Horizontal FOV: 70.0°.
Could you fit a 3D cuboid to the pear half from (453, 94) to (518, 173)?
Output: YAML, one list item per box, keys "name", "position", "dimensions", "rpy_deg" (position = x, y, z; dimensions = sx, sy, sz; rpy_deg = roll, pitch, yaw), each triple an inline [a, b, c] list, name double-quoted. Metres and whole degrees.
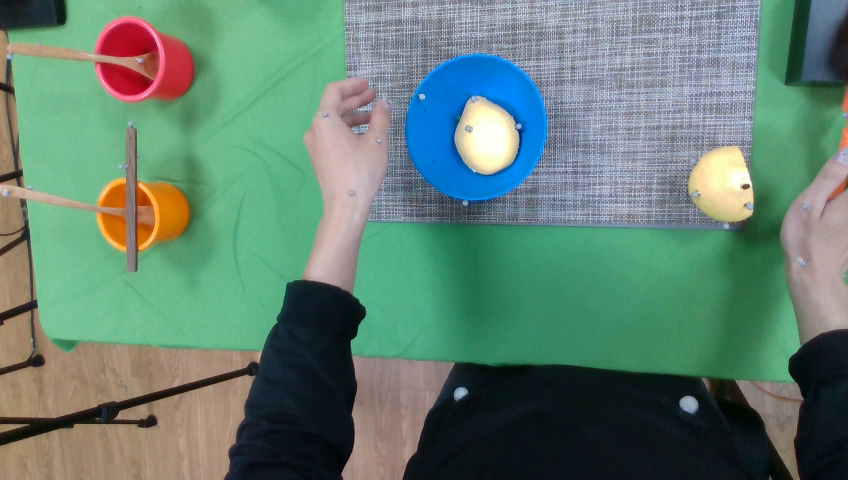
- name: "pear half"
  position: [0.063, -0.118, 0.654]
  dimensions: [0.070, 0.031, 0.088]
  rpy_deg: [-20, 88, 10]

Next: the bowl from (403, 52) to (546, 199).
- name: "bowl"
  position: [0.059, -0.122, 0.662]
  dimensions: [0.151, 0.077, 0.151]
  rpy_deg: [2, 99, 13]

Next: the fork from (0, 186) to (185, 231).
- name: "fork"
  position: [-0.405, -0.039, 0.748]
  dimensions: [0.209, 0.018, 0.028]
  rpy_deg: [11, 114, -33]

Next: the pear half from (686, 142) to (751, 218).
- name: "pear half"
  position: [0.293, -0.056, 0.601]
  dimensions: [0.056, 0.110, 0.076]
  rpy_deg: [-18, 90, 16]

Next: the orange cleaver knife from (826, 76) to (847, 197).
- name: "orange cleaver knife"
  position: [0.413, -0.143, 0.578]
  dimensions: [0.012, 0.076, 0.213]
  rpy_deg: [4, 128, 18]

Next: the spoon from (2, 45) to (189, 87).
- name: "spoon"
  position: [-0.385, -0.214, 0.721]
  dimensions: [0.195, 0.021, 0.042]
  rpy_deg: [0, 103, -31]

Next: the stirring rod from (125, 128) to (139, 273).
- name: "stirring rod"
  position: [-0.354, -0.046, 0.734]
  dimensions: [0.014, 0.006, 0.176]
  rpy_deg: [5, 100, 9]
